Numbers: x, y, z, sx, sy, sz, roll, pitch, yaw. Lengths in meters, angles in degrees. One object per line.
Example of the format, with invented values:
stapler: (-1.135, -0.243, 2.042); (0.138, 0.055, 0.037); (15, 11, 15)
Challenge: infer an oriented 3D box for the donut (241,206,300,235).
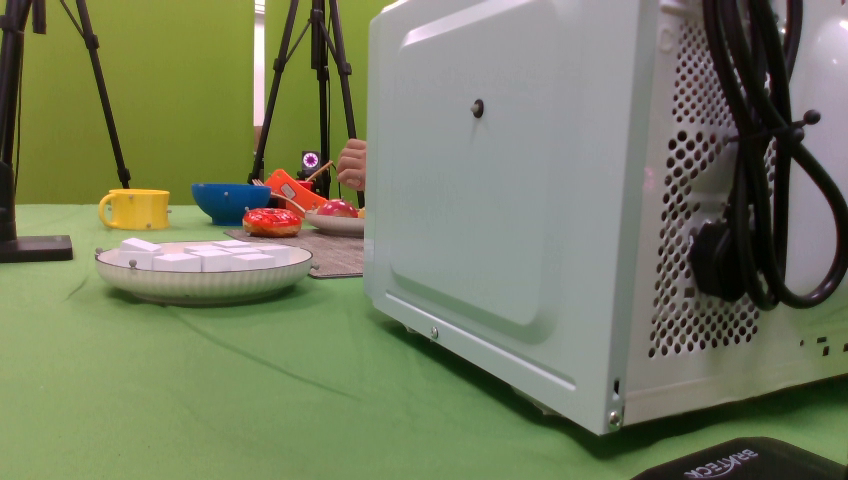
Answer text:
donut: (-0.263, -0.032, 1.039); (0.099, 0.048, 0.099); (4, 10, 0)

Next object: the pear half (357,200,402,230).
pear half: (-0.075, -0.046, 1.133); (0.076, 0.056, 0.110); (13, 7, 31)

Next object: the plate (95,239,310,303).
plate: (-0.224, 0.031, 0.629); (0.208, 0.039, 0.207); (2, 7, 0)

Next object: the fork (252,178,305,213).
fork: (-0.295, -0.084, 1.292); (0.206, 0.018, 0.028); (29, 10, 25)

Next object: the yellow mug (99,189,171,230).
yellow mug: (-0.519, -0.055, 1.080); (0.099, 0.064, 0.131); (7, 9, 26)

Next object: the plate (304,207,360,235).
plate: (-0.123, -0.037, 1.149); (0.209, 0.038, 0.209); (2, 7, 0)

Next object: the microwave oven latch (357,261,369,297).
microwave oven latch: (-0.019, 0.033, 0.530); (0.079, 0.029, 0.030); (-1, 7, -26)

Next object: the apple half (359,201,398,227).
apple half: (-0.088, -0.058, 1.190); (0.081, 0.033, 0.081); (10, 29, -5)

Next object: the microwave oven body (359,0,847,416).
microwave oven body: (0.211, -0.047, 0.474); (0.444, 0.260, 0.324); (-1, 7, -28)

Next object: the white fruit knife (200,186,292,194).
white fruit knife: (-0.399, -0.111, 1.368); (0.208, 0.016, 0.027); (-4, -19, -30)

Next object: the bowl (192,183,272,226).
bowl: (-0.381, -0.071, 1.202); (0.151, 0.077, 0.151); (3, 7, 0)

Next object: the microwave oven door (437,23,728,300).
microwave oven door: (0.180, -0.072, 0.621); (0.358, 0.243, 0.039); (-2, 9, -29)

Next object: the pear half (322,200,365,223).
pear half: (-0.157, -0.059, 1.197); (0.088, 0.031, 0.070); (12, 31, -5)

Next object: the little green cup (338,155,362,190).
little green cup: (-0.123, -0.120, 1.082); (0.061, 0.038, 0.061); (17, -24, 8)

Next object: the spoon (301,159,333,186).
spoon: (-0.316, -0.159, 1.639); (0.194, 0.022, 0.041); (-49, 32, -20)

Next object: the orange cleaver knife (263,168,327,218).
orange cleaver knife: (-0.262, -0.088, 1.353); (0.211, 0.077, 0.012); (28, 13, -1)

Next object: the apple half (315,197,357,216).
apple half: (-0.162, -0.052, 1.121); (0.081, 0.053, 0.074); (4, 8, -14)
